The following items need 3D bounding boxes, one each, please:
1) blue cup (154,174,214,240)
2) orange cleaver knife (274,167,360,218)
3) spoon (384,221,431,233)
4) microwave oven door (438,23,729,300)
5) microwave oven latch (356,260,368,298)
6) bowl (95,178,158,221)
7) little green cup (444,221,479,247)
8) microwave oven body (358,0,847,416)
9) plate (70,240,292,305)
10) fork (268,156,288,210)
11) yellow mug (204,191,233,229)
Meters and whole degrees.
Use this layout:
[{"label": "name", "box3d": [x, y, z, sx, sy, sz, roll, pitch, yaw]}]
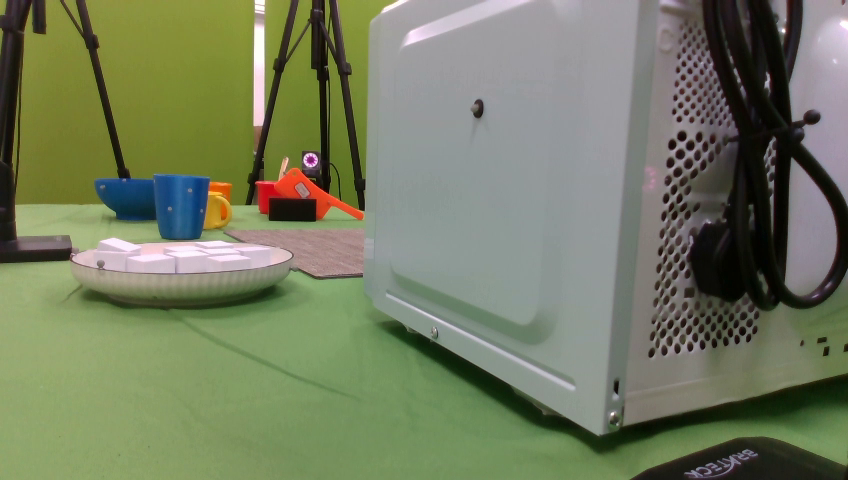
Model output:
[{"label": "blue cup", "box3d": [-0.391, -0.053, 0.978, 0.093, 0.100, 0.092, 3, 6, 0]}, {"label": "orange cleaver knife", "box3d": [-0.238, -0.091, 1.381, 0.212, 0.077, 0.012, 31, 0, -19]}, {"label": "spoon", "box3d": [-0.024, -0.029, 1.188, 0.041, 0.021, 0.194, -12, 0, 23]}, {"label": "microwave oven door", "box3d": [0.181, -0.072, 0.620, 0.358, 0.243, 0.039, -2, 8, -29]}, {"label": "microwave oven latch", "box3d": [-0.019, 0.033, 0.529, 0.079, 0.029, 0.030, 0, 7, -25]}, {"label": "bowl", "box3d": [-0.576, -0.081, 1.217, 0.151, 0.077, 0.151, 3, 8, 0]}, {"label": "little green cup", "box3d": [0.064, -0.011, 1.034, 0.061, 0.038, 0.061, 1, 9, 0]}, {"label": "microwave oven body", "box3d": [0.211, -0.047, 0.474, 0.444, 0.260, 0.324, -1, 7, -28]}, {"label": "plate", "box3d": [-0.242, 0.031, 0.618, 0.208, 0.039, 0.207, 2, 8, 0]}, {"label": "fork", "box3d": [-0.360, -0.144, 1.508, 0.028, 0.018, 0.207, 1, 49, 0]}, {"label": "yellow mug", "box3d": [-0.415, -0.057, 1.132, 0.130, 0.064, 0.100, 6, 8, 16]}]
